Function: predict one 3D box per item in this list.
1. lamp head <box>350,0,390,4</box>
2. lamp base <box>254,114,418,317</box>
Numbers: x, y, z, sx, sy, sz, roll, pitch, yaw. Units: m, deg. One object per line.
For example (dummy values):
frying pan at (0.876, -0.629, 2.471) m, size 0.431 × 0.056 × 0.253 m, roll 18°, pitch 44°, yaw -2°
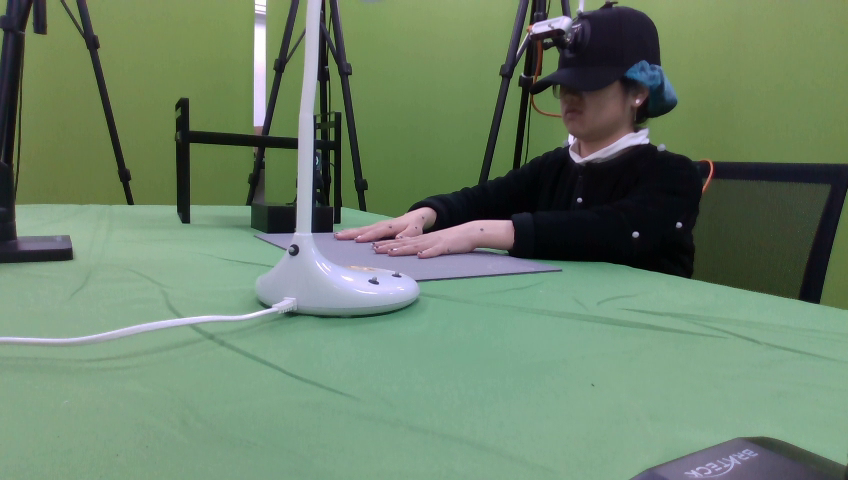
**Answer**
lamp head at (-0.053, -0.313, 0.597) m, size 0.112 × 0.112 × 0.123 m, roll 6°, pitch -28°, yaw 25°
lamp base at (-0.086, -0.027, 0.577) m, size 0.160 × 0.180 × 0.179 m, roll 4°, pitch 10°, yaw 16°
